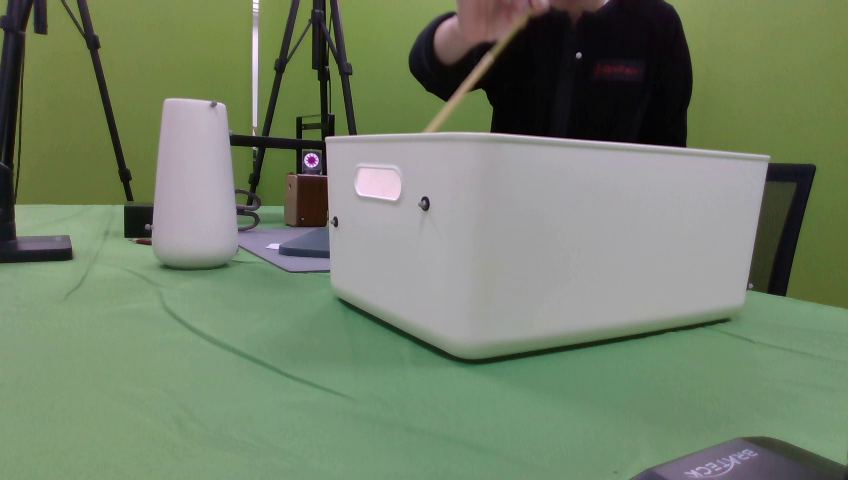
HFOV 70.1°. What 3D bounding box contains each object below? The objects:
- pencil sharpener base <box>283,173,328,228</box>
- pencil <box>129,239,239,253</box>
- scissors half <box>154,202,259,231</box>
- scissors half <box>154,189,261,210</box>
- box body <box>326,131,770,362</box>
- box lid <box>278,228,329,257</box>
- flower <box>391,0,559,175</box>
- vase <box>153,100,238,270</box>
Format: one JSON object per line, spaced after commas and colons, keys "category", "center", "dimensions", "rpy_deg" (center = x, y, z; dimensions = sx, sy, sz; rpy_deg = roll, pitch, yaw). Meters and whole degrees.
{"category": "pencil sharpener base", "center": [-0.239, -0.081, 1.231], "dimensions": [0.077, 0.107, 0.061], "rpy_deg": [-2, 8, -36]}
{"category": "pencil", "center": [-0.350, 0.008, 0.874], "dimensions": [0.193, 0.012, 0.012], "rpy_deg": [4, 8, 18]}
{"category": "scissors half", "center": [-0.375, -0.046, 1.051], "dimensions": [0.176, 0.040, 0.013], "rpy_deg": [13, -2, -28]}
{"category": "scissors half", "center": [-0.373, -0.066, 1.049], "dimensions": [0.176, 0.040, 0.012], "rpy_deg": [-6, 13, -27]}
{"category": "box body", "center": [0.112, -0.010, 0.583], "dimensions": [0.366, 0.160, 0.253], "rpy_deg": [-2, 9, -32]}
{"category": "box lid", "center": [-0.019, 0.012, 0.950], "dimensions": [0.371, 0.015, 0.263], "rpy_deg": [4, 7, 4]}
{"category": "flower", "center": [0.092, -0.196, 0.582], "dimensions": [0.044, 0.361, 0.038], "rpy_deg": [43, -1, -4]}
{"category": "vase", "center": [-0.278, -0.066, 0.736], "dimensions": [0.098, 0.200, 0.098], "rpy_deg": [2, 9, 0]}
